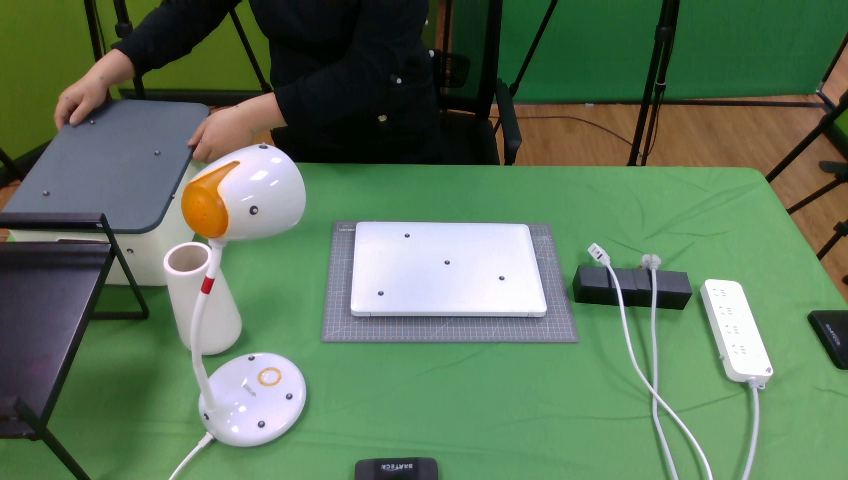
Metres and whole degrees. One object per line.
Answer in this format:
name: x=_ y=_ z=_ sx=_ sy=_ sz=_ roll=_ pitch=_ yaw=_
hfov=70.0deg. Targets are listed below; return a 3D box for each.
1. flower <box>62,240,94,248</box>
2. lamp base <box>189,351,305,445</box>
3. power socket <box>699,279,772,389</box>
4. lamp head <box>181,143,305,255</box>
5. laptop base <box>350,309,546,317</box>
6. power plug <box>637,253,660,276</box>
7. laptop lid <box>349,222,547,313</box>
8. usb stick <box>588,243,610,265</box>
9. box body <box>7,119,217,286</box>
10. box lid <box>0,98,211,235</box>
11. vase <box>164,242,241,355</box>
flower: x=-0.558 y=-0.053 z=1.195 sx=0.044 sy=0.038 sz=0.361 roll=47 pitch=54 yaw=1
lamp base: x=-0.268 y=0.196 z=0.876 sx=0.160 sy=0.181 sz=0.179 roll=26 pitch=52 yaw=20
power socket: x=0.551 y=0.157 z=1.081 sx=0.072 sy=0.033 sz=0.225 roll=5 pitch=46 yaw=1
lamp head: x=-0.216 y=-0.044 z=0.697 sx=0.112 sy=0.113 sz=0.123 roll=23 pitch=31 yaw=17
laptop base: x=0.041 y=0.055 z=1.149 sx=0.355 sy=0.023 sz=0.234 roll=1 pitch=42 yaw=-4
power plug: x=0.415 y=0.050 z=1.139 sx=0.035 sy=0.053 sz=0.072 roll=45 pitch=49 yaw=10
laptop lid: x=0.041 y=0.045 z=1.143 sx=0.357 sy=0.013 sz=0.240 roll=2 pitch=44 yaw=-3
usb stick: x=0.336 y=0.024 z=1.172 sx=0.027 sy=0.021 sz=0.059 roll=33 pitch=17 yaw=-12
box body: x=-0.560 y=-0.093 z=1.144 sx=0.254 sy=0.161 sz=0.361 roll=3 pitch=46 yaw=-2
box lid: x=-0.556 y=-0.144 z=1.089 sx=0.263 sy=0.015 sz=0.369 roll=2 pitch=46 yaw=-1
vase: x=-0.349 y=0.096 z=0.954 sx=0.098 sy=0.201 sz=0.097 roll=3 pitch=47 yaw=-3
